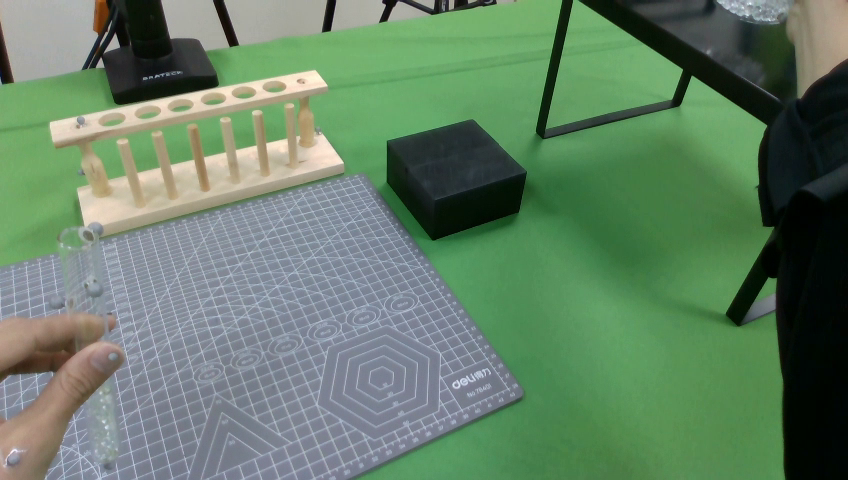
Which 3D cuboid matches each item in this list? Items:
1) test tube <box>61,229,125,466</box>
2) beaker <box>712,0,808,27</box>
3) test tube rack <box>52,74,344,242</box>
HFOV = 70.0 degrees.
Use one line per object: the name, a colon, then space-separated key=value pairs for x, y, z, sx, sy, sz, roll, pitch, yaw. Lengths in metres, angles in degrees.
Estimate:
test tube: x=-0.157 y=0.060 z=0.291 sx=0.017 sy=0.151 sz=0.017 roll=10 pitch=34 yaw=-6
beaker: x=0.264 y=-0.221 z=0.452 sx=0.083 sy=0.101 sz=0.074 roll=34 pitch=56 yaw=25
test tube rack: x=-0.202 y=-0.083 z=0.577 sx=0.243 sy=0.086 sz=0.066 roll=-18 pitch=47 yaw=-22
